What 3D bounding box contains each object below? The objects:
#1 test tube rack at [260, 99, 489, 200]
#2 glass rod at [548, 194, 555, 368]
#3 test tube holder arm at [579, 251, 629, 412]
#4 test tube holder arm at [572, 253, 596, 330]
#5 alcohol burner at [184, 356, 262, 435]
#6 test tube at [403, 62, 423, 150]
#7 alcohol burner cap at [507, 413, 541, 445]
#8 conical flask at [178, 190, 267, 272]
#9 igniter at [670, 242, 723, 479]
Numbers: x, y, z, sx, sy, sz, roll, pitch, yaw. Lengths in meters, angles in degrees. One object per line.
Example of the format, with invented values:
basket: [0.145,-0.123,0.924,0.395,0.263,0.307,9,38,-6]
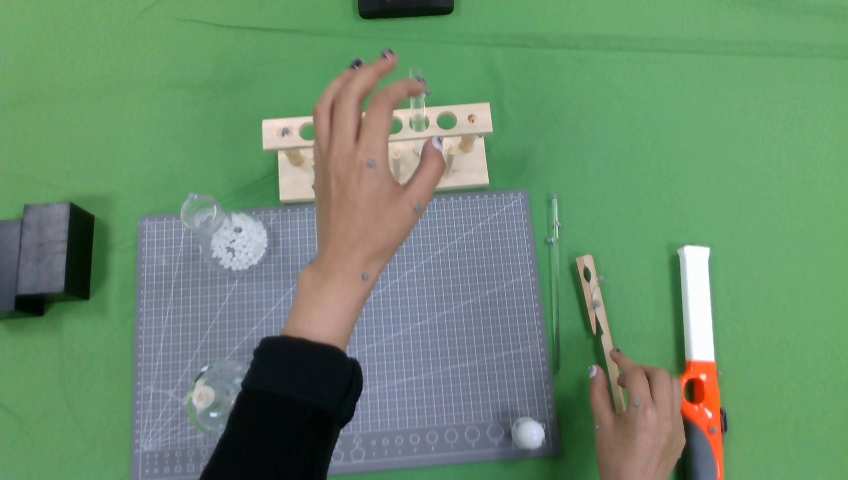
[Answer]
test tube rack: [-0.052,-0.099,0.680,0.242,0.085,0.066,-5,76,-2]
glass rod: [0.145,0.044,0.685,0.008,0.008,0.199,2,78,0]
test tube holder arm: [0.197,0.098,0.666,0.013,0.015,0.177,-21,74,31]
test tube holder arm: [0.183,0.057,0.679,0.010,0.015,0.087,-20,75,32]
alcohol burner: [-0.203,0.152,0.596,0.078,0.120,0.077,0,74,2]
test tube: [-0.010,-0.136,0.638,0.017,0.151,0.017,0,70,1]
alcohol burner cap: [0.105,0.196,0.627,0.034,0.048,0.033,0,75,0]
conical flask: [-0.215,-0.014,0.633,0.075,0.122,0.075,0,75,0]
igniter: [0.292,0.137,0.655,0.057,0.025,0.275,6,76,-10]
